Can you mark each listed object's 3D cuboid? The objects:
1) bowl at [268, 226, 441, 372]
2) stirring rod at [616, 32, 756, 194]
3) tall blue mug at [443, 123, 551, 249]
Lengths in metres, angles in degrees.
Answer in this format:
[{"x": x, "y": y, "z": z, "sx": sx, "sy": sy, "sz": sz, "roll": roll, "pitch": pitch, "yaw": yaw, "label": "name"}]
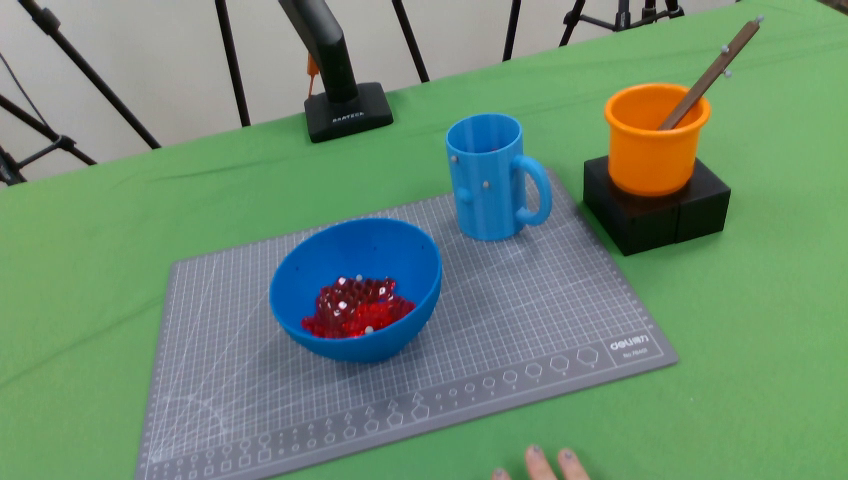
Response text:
[{"x": -0.054, "y": 0.064, "z": 0.540, "sx": 0.151, "sy": 0.077, "sz": 0.150, "roll": -7, "pitch": 40, "yaw": 6, "label": "bowl"}, {"x": 0.239, "y": -0.114, "z": 0.558, "sx": 0.176, "sy": 0.006, "sz": 0.014, "roll": -53, "pitch": 37, "yaw": 17, "label": "stirring rod"}, {"x": 0.080, "y": -0.054, "z": 0.622, "sx": 0.107, "sy": 0.109, "sz": 0.077, "roll": 3, "pitch": 41, "yaw": 17, "label": "tall blue mug"}]
